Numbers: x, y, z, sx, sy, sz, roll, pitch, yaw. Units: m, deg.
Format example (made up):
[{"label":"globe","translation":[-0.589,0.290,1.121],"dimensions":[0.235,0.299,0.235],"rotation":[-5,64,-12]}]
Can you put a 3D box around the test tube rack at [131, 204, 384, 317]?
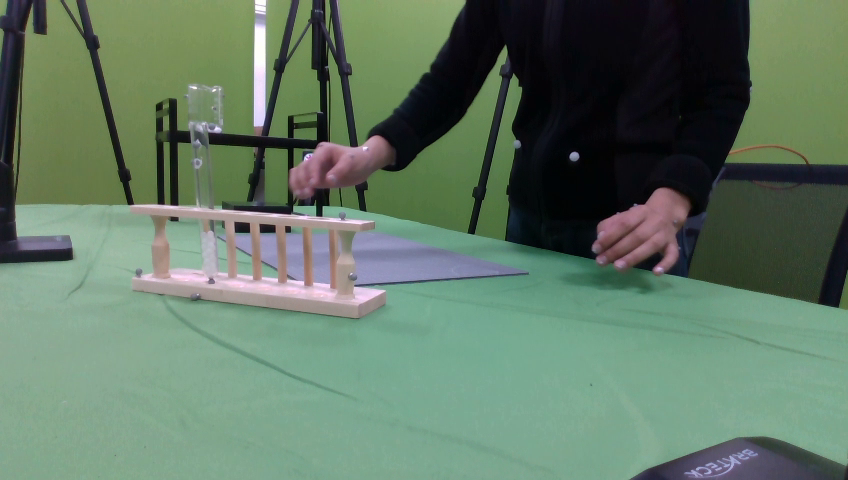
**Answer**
[{"label":"test tube rack","translation":[-0.162,0.014,0.589],"dimensions":[0.242,0.085,0.067],"rotation":[5,8,17]}]

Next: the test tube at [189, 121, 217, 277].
[{"label":"test tube","translation":[-0.210,-0.037,0.576],"dimensions":[0.017,0.150,0.017],"rotation":[1,14,0]}]

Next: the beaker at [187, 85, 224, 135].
[{"label":"beaker","translation":[-0.466,-0.276,1.296],"dimensions":[0.074,0.100,0.083],"rotation":[-3,10,-35]}]
